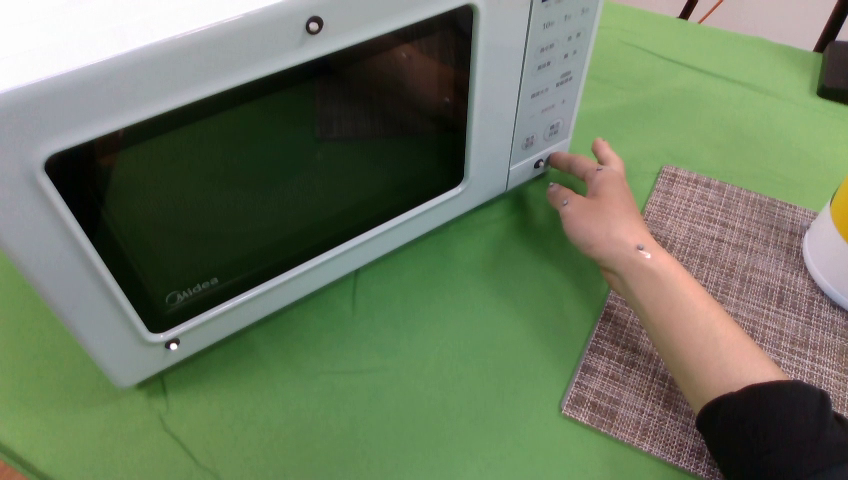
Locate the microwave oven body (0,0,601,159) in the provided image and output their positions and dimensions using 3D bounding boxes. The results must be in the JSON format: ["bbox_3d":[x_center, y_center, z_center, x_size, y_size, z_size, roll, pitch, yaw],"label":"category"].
[{"bbox_3d":[-0.129,-0.162,0.508,0.442,0.262,0.322,-29,56,-21],"label":"microwave oven body"}]

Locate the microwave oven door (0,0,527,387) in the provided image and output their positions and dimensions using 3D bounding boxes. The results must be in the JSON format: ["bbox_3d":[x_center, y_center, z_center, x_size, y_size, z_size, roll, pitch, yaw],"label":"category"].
[{"bbox_3d":[-0.081,-0.057,0.412,0.356,0.246,0.039,-28,55,-22],"label":"microwave oven door"}]

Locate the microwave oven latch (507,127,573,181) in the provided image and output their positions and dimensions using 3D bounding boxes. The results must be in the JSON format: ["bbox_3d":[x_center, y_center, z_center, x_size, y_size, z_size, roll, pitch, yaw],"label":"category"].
[{"bbox_3d":[0.102,-0.086,0.570,0.079,0.030,0.030,-27,55,-20],"label":"microwave oven latch"}]

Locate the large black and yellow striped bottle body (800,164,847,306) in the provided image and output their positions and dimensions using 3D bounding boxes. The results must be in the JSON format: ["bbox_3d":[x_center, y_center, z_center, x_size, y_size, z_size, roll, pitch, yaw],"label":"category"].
[{"bbox_3d":[0.387,-0.036,0.449,0.131,0.185,0.129,0,50,0],"label":"large black and yellow striped bottle body"}]
